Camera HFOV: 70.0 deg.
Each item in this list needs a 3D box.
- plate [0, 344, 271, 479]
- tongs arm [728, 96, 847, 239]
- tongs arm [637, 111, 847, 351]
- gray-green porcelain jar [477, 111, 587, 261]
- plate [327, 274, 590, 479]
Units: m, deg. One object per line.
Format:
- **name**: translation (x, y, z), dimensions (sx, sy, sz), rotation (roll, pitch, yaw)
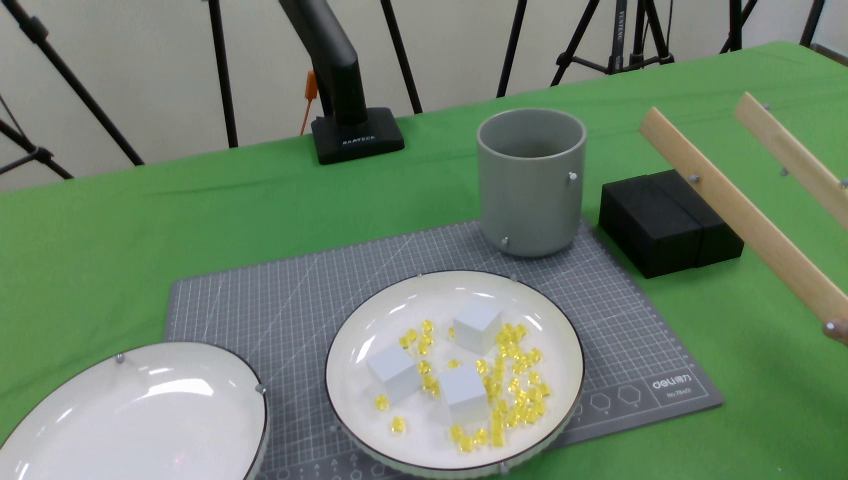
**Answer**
- **plate**: translation (-0.216, 0.167, 0.455), dimensions (0.209, 0.038, 0.207), rotation (-5, 38, 4)
- **tongs arm**: translation (0.326, 0.030, 0.420), dimensions (0.051, 0.027, 0.380), rotation (-11, 54, -24)
- **tongs arm**: translation (0.272, 0.042, 0.397), dimensions (0.028, 0.028, 0.383), rotation (-15, 56, -30)
- **gray-green porcelain jar**: translation (0.108, -0.051, 0.615), dimensions (0.106, 0.127, 0.105), rotation (-4, 38, 3)
- **plate**: translation (0.027, 0.108, 0.496), dimensions (0.207, 0.039, 0.205), rotation (-4, 38, 3)
